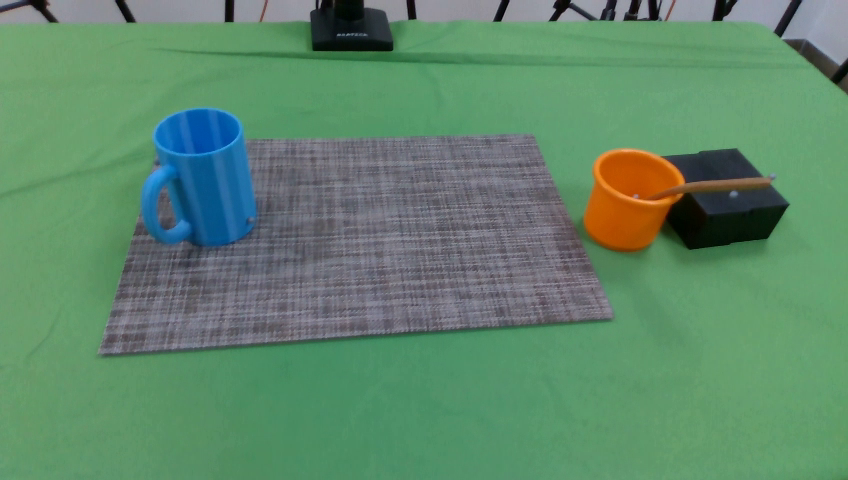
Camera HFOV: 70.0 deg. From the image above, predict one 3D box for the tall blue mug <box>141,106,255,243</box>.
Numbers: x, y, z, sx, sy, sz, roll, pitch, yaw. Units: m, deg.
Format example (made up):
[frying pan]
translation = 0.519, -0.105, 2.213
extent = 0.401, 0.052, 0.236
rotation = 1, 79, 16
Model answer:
[tall blue mug]
translation = -0.208, -0.051, 0.569
extent = 0.078, 0.109, 0.106
rotation = 4, 44, -3

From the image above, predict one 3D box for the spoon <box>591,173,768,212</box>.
[spoon]
translation = 0.239, -0.048, 0.591
extent = 0.042, 0.193, 0.021
rotation = -20, 93, -28
